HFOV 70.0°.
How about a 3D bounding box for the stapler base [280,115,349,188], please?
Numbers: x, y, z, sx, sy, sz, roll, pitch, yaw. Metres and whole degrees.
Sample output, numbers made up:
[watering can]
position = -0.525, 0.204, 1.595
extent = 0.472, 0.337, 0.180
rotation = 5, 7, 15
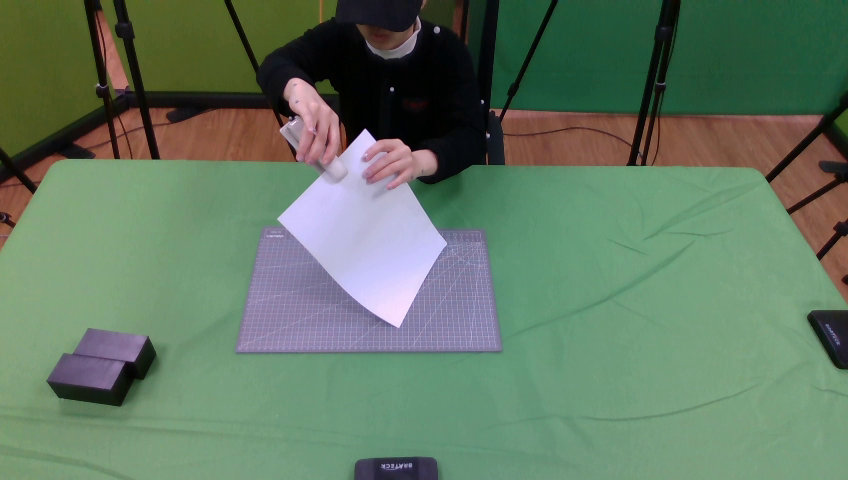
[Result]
[stapler base]
position = -0.170, -0.141, 0.966
extent = 0.131, 0.024, 0.041
rotation = 48, 70, -12

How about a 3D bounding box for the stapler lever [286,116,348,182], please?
[stapler lever]
position = -0.165, -0.142, 0.951
extent = 0.027, 0.118, 0.040
rotation = -47, 22, -19
